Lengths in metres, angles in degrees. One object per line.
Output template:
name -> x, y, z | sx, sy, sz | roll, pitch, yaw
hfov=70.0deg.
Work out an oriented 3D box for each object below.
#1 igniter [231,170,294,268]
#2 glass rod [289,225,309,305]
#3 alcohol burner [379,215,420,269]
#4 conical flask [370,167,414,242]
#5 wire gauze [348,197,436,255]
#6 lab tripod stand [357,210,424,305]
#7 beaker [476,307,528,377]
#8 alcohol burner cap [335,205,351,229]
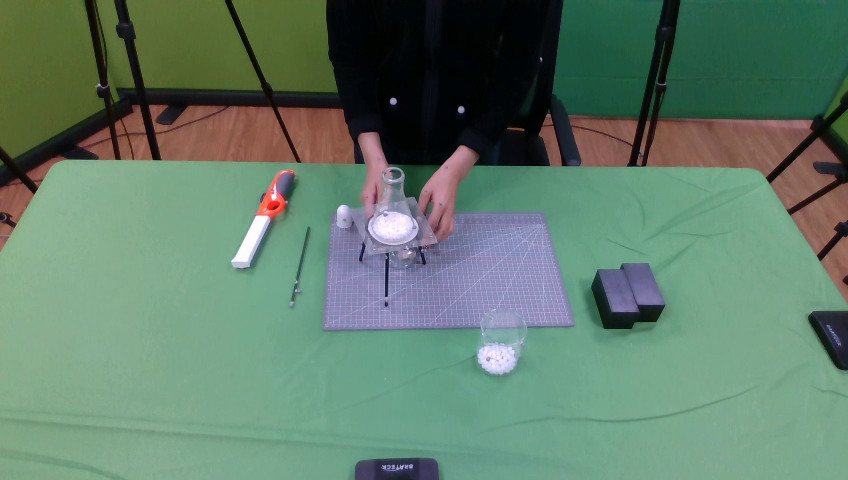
igniter -> -0.321, -0.051, 1.220 | 0.057, 0.025, 0.275 | 2, 45, 11
glass rod -> -0.235, 0.042, 1.149 | 0.008, 0.008, 0.198 | 3, 47, -1
alcohol burner -> -0.046, -0.002, 1.131 | 0.078, 0.120, 0.077 | 1, 45, -1
conical flask -> -0.053, -0.062, 1.000 | 0.075, 0.122, 0.075 | 2, 44, -2
wire gauze -> -0.056, -0.025, 1.046 | 0.125, 0.011, 0.120 | -14, 46, -15
lab tripod stand -> -0.060, 0.020, 1.094 | 0.148, 0.132, 0.147 | 3, 44, -2
beaker -> 0.122, 0.171, 0.991 | 0.084, 0.101, 0.073 | -34, 56, -30
alcohol burner cap -> -0.164, -0.049, 1.216 | 0.034, 0.048, 0.033 | 2, 45, -2
